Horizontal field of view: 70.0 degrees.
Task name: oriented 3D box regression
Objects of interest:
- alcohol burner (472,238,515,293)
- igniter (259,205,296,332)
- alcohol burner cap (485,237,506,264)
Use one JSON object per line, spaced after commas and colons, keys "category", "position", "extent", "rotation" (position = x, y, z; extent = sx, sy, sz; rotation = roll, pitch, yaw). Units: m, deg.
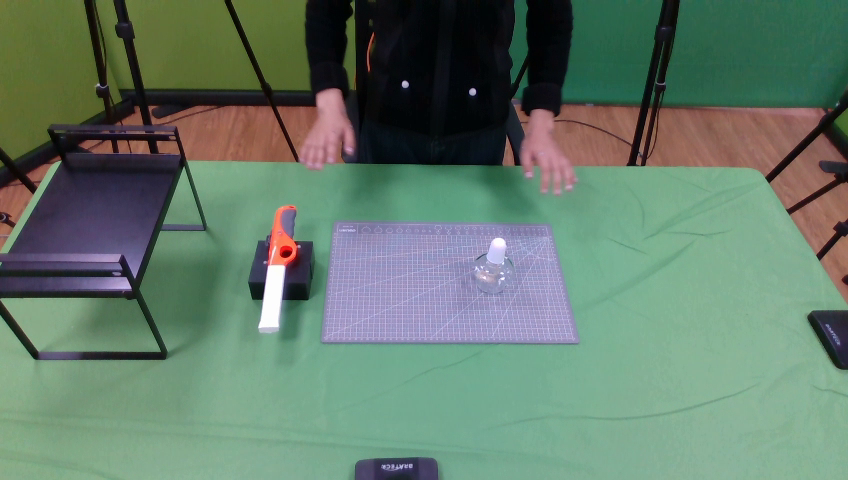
{"category": "alcohol burner", "position": [0.128, 0.041, 1.101], "extent": [0.078, 0.120, 0.077], "rotation": [1, 47, -1]}
{"category": "igniter", "position": [-0.259, 0.040, 1.071], "extent": [0.057, 0.025, 0.274], "rotation": [0, 50, -5]}
{"category": "alcohol burner cap", "position": [0.129, 0.015, 1.076], "extent": [0.034, 0.048, 0.033], "rotation": [6, 41, -5]}
